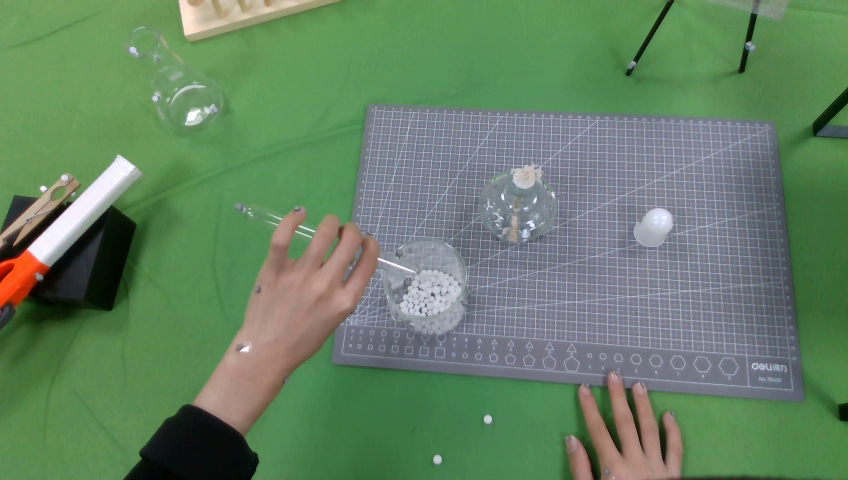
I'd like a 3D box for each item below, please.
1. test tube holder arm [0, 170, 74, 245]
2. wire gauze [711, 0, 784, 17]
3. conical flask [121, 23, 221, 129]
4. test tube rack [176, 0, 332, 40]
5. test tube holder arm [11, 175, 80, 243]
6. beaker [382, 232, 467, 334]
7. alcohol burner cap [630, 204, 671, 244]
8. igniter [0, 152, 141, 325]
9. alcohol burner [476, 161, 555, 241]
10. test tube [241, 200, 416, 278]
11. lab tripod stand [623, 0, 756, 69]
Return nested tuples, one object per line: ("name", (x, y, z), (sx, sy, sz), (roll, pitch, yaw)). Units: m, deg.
("test tube holder arm", (-0.419, -0.002, 0.603), (0.013, 0.015, 0.178), (45, 78, -14))
("wire gauze", (0.292, -0.274, 0.575), (0.121, 0.011, 0.124), (25, 75, 10))
("conical flask", (-0.278, -0.180, 0.656), (0.075, 0.123, 0.075), (-1, 70, 4))
("test tube rack", (-0.187, -0.323, 0.720), (0.242, 0.086, 0.066), (-16, 70, -2))
("test tube holder arm", (-0.386, -0.031, 0.614), (0.010, 0.015, 0.087), (46, 78, -14))
("beaker", (0.001, 0.048, 0.569), (0.073, 0.101, 0.084), (34, 76, 15))
("alcohol burner cap", (0.229, -0.019, 0.608), (0.034, 0.048, 0.033), (-1, 70, 3))
("igniter", (-0.389, 0.022, 0.593), (0.057, 0.025, 0.276), (33, 75, 23))
("alcohol burner", (0.090, -0.044, 0.587), (0.078, 0.120, 0.077), (-1, 69, 2))
("test tube", (-0.076, 0.000, 0.499), (0.151, 0.017, 0.017), (21, 71, -17))
("lab tripod stand", (0.289, -0.251, 0.639), (0.148, 0.132, 0.147), (-1, 70, 2))
